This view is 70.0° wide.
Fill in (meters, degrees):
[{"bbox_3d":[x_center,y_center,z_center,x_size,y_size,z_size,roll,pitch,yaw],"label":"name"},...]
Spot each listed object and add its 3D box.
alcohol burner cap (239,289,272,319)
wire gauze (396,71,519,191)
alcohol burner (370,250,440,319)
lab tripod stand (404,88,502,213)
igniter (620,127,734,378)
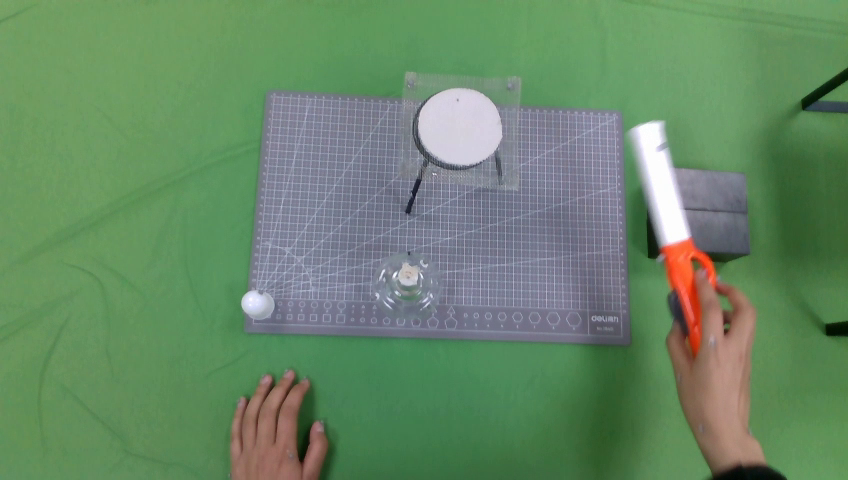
[{"bbox_3d":[-0.190,0.069,0.674,0.034,0.048,0.033,1,76,-5],"label":"alcohol burner cap"},{"bbox_3d":[0.036,-0.114,0.615,0.125,0.011,0.121,5,77,-3],"label":"wire gauze"},{"bbox_3d":[-0.021,0.046,0.656,0.078,0.119,0.077,1,78,-2],"label":"alcohol burner"},{"bbox_3d":[0.025,-0.104,0.681,0.148,0.132,0.147,1,77,-2],"label":"lab tripod stand"},{"bbox_3d":[0.265,0.014,0.636,0.057,0.025,0.276,-16,86,-11],"label":"igniter"}]
